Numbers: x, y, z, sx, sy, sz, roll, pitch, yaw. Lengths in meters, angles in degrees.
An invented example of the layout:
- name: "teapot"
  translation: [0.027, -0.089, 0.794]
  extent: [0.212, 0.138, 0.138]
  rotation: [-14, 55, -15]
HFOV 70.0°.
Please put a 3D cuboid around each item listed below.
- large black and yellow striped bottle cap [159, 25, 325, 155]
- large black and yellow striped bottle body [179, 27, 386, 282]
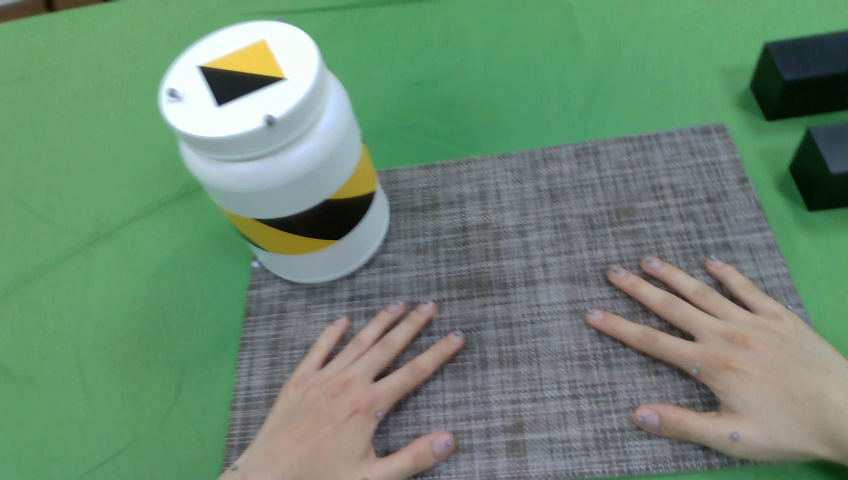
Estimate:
- name: "large black and yellow striped bottle cap"
  translation: [-0.127, -0.108, 0.423]
  extent: [0.115, 0.019, 0.114]
  rotation: [-4, 56, 7]
- name: "large black and yellow striped bottle body"
  translation: [-0.112, -0.063, 0.492]
  extent: [0.130, 0.186, 0.129]
  rotation: [-5, 56, 8]
